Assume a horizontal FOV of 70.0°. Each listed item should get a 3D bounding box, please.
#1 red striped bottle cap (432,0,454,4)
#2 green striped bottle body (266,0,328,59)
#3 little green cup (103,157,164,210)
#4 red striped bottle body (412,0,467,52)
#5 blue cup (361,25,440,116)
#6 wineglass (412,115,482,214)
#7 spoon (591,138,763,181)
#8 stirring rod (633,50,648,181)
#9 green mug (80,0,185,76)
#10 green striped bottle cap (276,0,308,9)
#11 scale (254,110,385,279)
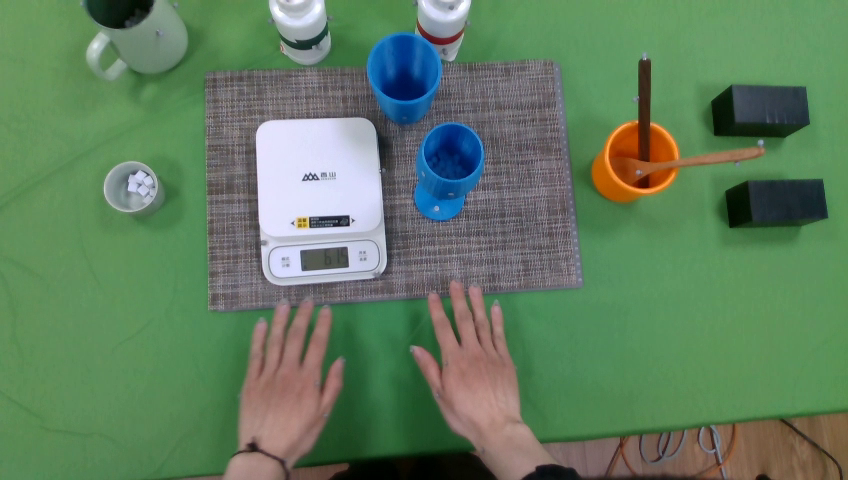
[{"bbox_3d":[0.021,-0.293,0.688,0.044,0.018,0.044,1,78,-3],"label":"red striped bottle cap"},{"bbox_3d":[-0.151,-0.271,0.726,0.063,0.119,0.063,1,81,-4],"label":"green striped bottle body"},{"bbox_3d":[-0.343,-0.065,0.722,0.061,0.039,0.061,1,81,-5],"label":"little green cup"},{"bbox_3d":[0.018,-0.285,0.740,0.063,0.120,0.063,1,81,-4],"label":"red striped bottle body"},{"bbox_3d":[-0.027,-0.195,0.730,0.093,0.100,0.092,0,83,-3],"label":"blue cup"},{"bbox_3d":[0.021,-0.079,0.678,0.074,0.172,0.073,1,80,-3],"label":"wineglass"},{"bbox_3d":[0.292,-0.099,0.717,0.022,0.192,0.041,-2,89,-48],"label":"spoon"},{"bbox_3d":[0.257,-0.141,0.719,0.014,0.178,0.006,9,46,27],"label":"stirring rod"},{"bbox_3d":[-0.352,-0.250,0.716,0.092,0.105,0.125,31,80,1],"label":"green mug"},{"bbox_3d":[-0.148,-0.282,0.671,0.044,0.020,0.044,0,80,-2],"label":"green striped bottle cap"},{"bbox_3d":[-0.127,-0.057,0.736,0.149,0.031,0.200,-5,82,-4],"label":"scale"}]
